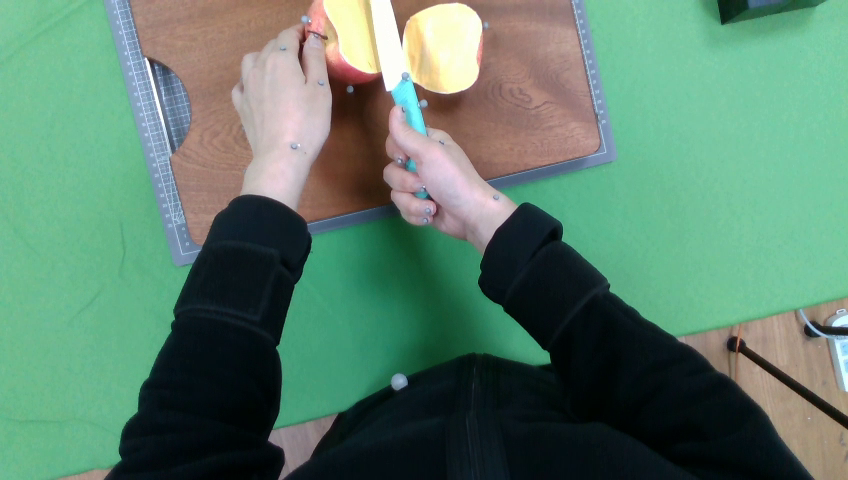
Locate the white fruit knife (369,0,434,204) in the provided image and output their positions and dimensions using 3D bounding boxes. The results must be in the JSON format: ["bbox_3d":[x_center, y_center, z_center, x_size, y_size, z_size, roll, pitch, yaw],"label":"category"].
[{"bbox_3d":[-0.022,-0.134,0.505,0.027,0.016,0.207,-12,91,19],"label":"white fruit knife"}]

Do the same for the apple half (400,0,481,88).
[{"bbox_3d":[0.017,-0.179,0.553,0.081,0.032,0.081,3,104,11],"label":"apple half"}]

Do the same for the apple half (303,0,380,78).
[{"bbox_3d":[-0.070,-0.180,0.532,0.074,0.053,0.081,-31,102,-44],"label":"apple half"}]
